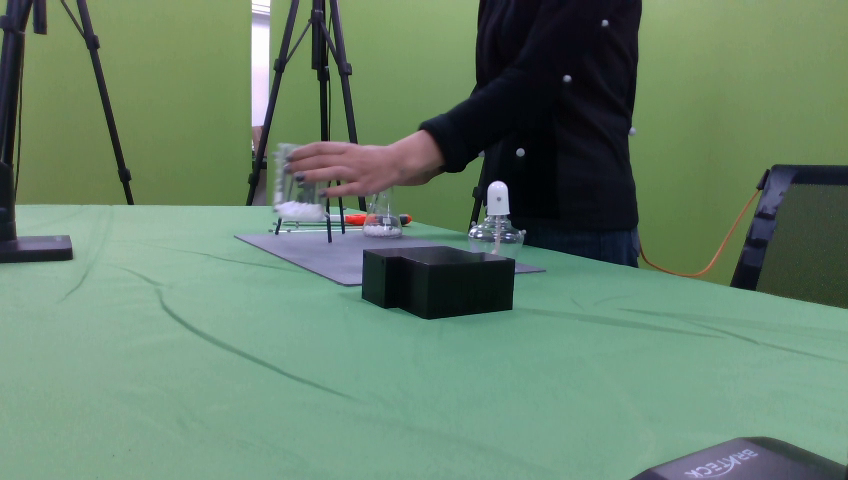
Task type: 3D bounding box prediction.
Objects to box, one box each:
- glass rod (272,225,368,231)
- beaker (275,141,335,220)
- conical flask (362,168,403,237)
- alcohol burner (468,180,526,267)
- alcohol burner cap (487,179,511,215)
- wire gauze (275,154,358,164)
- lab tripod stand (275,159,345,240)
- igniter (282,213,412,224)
[{"bbox_3d":[-0.197,-0.023,1.170,0.201,0.008,0.008,-3,9,-34],"label":"glass rod"},{"bbox_3d":[-0.164,-0.081,0.830,0.074,0.100,0.084,7,5,0],"label":"beaker"},{"bbox_3d":[-0.073,-0.069,1.096,0.075,0.122,0.075,3,8,0],"label":"conical flask"},{"bbox_3d":[0.101,-0.022,0.821,0.078,0.119,0.078,4,7,0],"label":"alcohol burner"},{"bbox_3d":[0.101,-0.058,0.816,0.034,0.048,0.034,-3,8,1],"label":"alcohol burner cap"},{"bbox_3d":[-0.179,-0.137,1.028,0.121,0.011,0.125,4,8,0],"label":"wire gauze"},{"bbox_3d":[-0.181,-0.072,1.039,0.148,0.131,0.148,4,8,0],"label":"lab tripod stand"},{"bbox_3d":[-0.159,-0.046,1.287,0.278,0.025,0.057,-1,-3,-21],"label":"igniter"}]
